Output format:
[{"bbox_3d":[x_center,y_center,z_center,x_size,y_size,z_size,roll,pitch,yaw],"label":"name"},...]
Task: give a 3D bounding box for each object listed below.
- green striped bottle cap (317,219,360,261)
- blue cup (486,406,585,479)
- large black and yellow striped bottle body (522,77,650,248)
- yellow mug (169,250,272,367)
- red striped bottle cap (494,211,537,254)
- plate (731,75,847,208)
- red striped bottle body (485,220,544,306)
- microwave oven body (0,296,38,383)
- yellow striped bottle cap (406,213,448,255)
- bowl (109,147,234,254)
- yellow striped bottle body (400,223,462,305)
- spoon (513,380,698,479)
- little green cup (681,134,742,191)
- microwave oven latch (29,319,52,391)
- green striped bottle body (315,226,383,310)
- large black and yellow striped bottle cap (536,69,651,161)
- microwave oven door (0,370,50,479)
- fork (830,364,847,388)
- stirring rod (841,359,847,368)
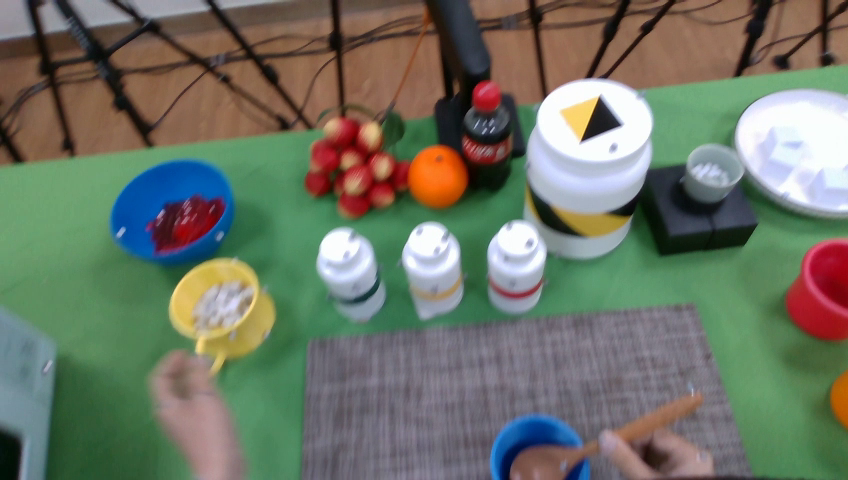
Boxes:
[{"bbox_3d":[-0.091,0.000,0.647,0.044,0.020,0.044,-2,57,4],"label":"green striped bottle cap"},{"bbox_3d":[0.099,0.212,0.565,0.092,0.101,0.092,-2,57,3],"label":"blue cup"},{"bbox_3d":[0.182,-0.088,0.697,0.131,0.185,0.129,-3,58,5],"label":"large black and yellow striped bottle body"},{"bbox_3d":[-0.239,0.084,0.704,0.100,0.064,0.130,3,59,7],"label":"yellow mug"},{"bbox_3d":[0.095,-0.008,0.632,0.044,0.018,0.044,-1,57,1],"label":"red striped bottle cap"},{"bbox_3d":[0.498,-0.123,0.771,0.209,0.038,0.207,-2,59,4],"label":"plate"},{"bbox_3d":[0.102,0.020,0.677,0.063,0.121,0.062,-5,56,8],"label":"red striped bottle body"},{"bbox_3d":[-0.557,0.262,0.509,0.326,0.262,0.437,-14,59,-3],"label":"microwave oven body"},{"bbox_3d":[0.004,-0.007,0.642,0.044,0.019,0.044,-2,59,4],"label":"yellow striped bottle cap"},{"bbox_3d":[-0.309,-0.037,0.778,0.151,0.077,0.150,-2,59,4],"label":"bowl"},{"bbox_3d":[0.009,0.020,0.685,0.063,0.121,0.062,-3,58,6],"label":"yellow striped bottle body"},{"bbox_3d":[0.145,0.164,0.511,0.022,0.194,0.041,-10,66,-50],"label":"spoon"},{"bbox_3d":[0.333,-0.088,0.707,0.061,0.039,0.061,-2,57,3],"label":"little green cup"},{"bbox_3d":[-0.446,0.133,0.690,0.030,0.030,0.078,-12,59,-2],"label":"microwave oven latch"},{"bbox_3d":[-0.085,0.027,0.691,0.063,0.120,0.062,-2,58,4],"label":"green striped bottle body"},{"bbox_3d":[0.174,-0.131,0.624,0.115,0.019,0.114,-3,57,5],"label":"large black and yellow striped bottle cap"},{"bbox_3d":[-0.407,0.259,0.489,0.039,0.246,0.352,-14,58,-2],"label":"microwave oven door"},{"bbox_3d":[0.477,0.145,0.543,0.028,0.019,0.206,-37,17,-21],"label":"fork"},{"bbox_3d":[0.449,0.148,0.550,0.014,0.006,0.175,-12,15,-2],"label":"stirring rod"}]
